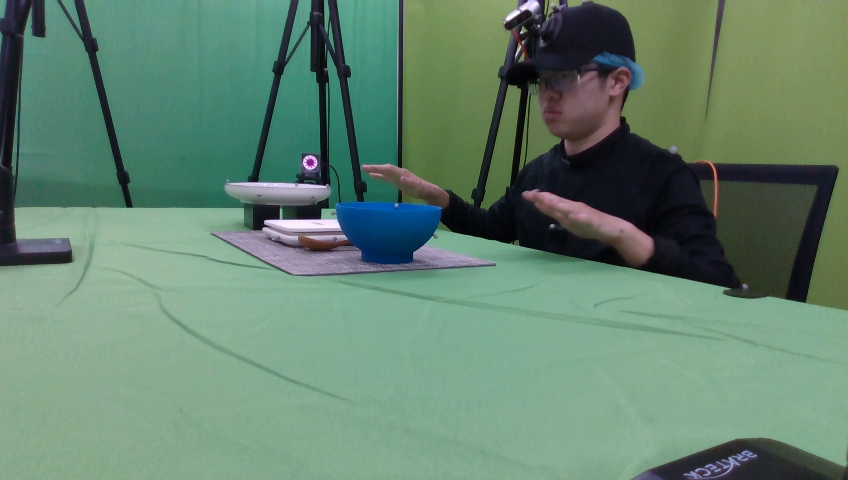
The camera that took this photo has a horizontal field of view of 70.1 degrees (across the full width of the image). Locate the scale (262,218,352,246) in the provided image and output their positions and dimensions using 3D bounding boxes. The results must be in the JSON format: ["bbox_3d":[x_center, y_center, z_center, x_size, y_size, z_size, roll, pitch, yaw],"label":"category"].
[{"bbox_3d":[-0.160,-0.016,1.028,0.202,0.031,0.148,-2,9,-32],"label":"scale"}]

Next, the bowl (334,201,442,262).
[{"bbox_3d":[-0.051,-0.012,0.848,0.151,0.077,0.151,2,7,0],"label":"bowl"}]

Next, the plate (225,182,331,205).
[{"bbox_3d":[-0.294,-0.096,1.229,0.209,0.038,0.209,3,7,0],"label":"plate"}]

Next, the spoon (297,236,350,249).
[{"bbox_3d":[-0.103,0.002,0.943,0.195,0.021,0.041,-2,-7,-30],"label":"spoon"}]
